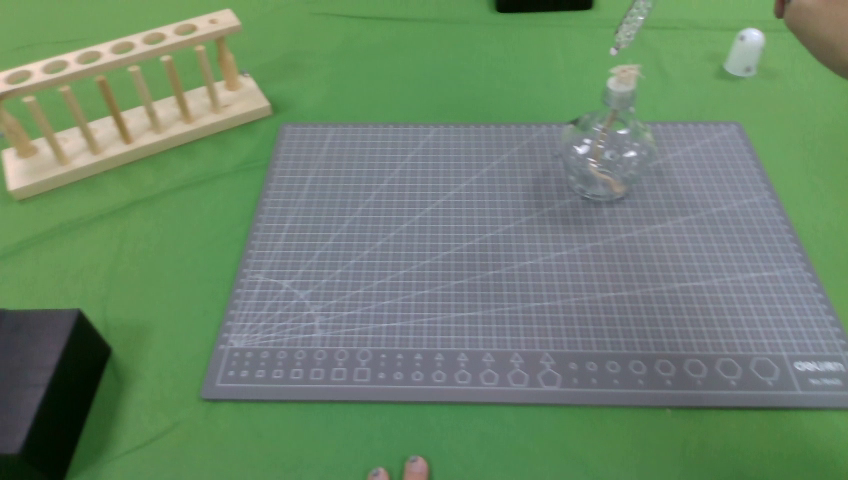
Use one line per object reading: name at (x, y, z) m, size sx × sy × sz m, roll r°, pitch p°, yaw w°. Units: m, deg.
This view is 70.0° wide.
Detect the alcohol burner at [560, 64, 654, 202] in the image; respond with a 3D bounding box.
alcohol burner at (0.153, -0.090, 0.498) m, size 0.078 × 0.120 × 0.077 m, roll 0°, pitch 47°, yaw 1°

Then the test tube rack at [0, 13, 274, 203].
test tube rack at (-0.275, -0.127, 0.567) m, size 0.243 × 0.086 × 0.066 m, roll -24°, pitch 52°, yaw -18°

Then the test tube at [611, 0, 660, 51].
test tube at (0.159, -0.184, 0.379) m, size 0.017 × 0.151 × 0.017 m, roll 10°, pitch 50°, yaw -12°

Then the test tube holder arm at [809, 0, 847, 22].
test tube holder arm at (0.217, -0.153, 0.354) m, size 0.177 × 0.015 × 0.013 m, roll 39°, pitch 56°, yaw 15°

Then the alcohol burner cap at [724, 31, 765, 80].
alcohol burner cap at (0.341, -0.196, 0.639) m, size 0.034 × 0.048 × 0.033 m, roll -2°, pitch 49°, yaw 3°
